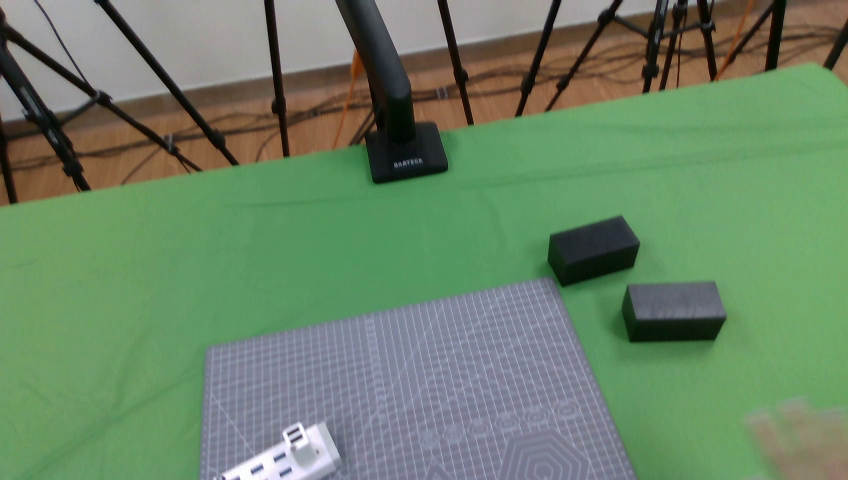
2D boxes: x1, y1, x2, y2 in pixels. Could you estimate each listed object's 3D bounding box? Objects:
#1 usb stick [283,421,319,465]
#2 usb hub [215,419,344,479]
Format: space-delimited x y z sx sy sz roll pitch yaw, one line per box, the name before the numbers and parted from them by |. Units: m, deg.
usb stick | -0.125 0.212 0.624 0.021 0.060 0.027 -28 50 -16
usb hub | -0.152 0.241 0.641 0.125 0.025 0.049 -24 51 -16
